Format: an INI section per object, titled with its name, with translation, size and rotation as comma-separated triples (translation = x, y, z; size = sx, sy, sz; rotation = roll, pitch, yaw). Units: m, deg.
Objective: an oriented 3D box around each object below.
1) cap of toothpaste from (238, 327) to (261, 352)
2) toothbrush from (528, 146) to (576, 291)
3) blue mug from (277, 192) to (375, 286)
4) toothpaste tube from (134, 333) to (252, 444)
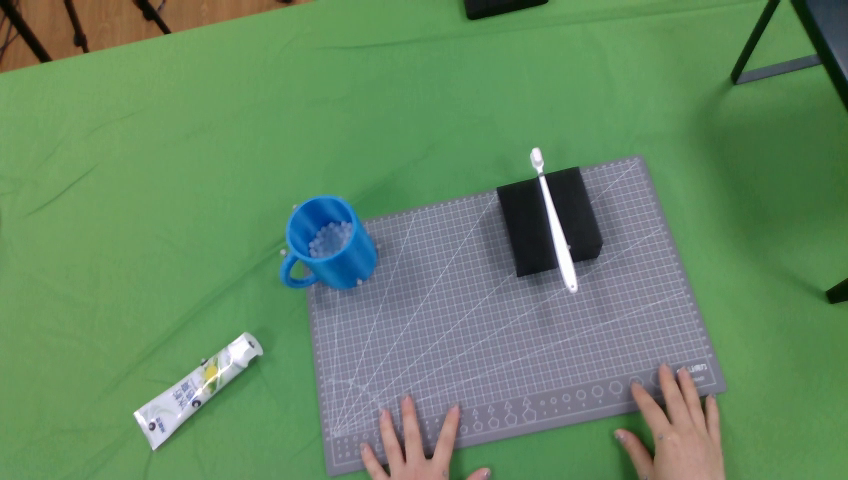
[cap of toothpaste]
translation = -0.211, 0.121, 0.730
size = 0.011, 0.037, 0.037
rotation = -39, 69, -3
[toothbrush]
translation = 0.146, -0.028, 0.691
size = 0.014, 0.017, 0.180
rotation = -10, 69, -2
[blue mug]
translation = -0.122, 0.012, 0.719
size = 0.116, 0.106, 0.081
rotation = -39, 69, -7
[toothpaste tube]
translation = -0.273, 0.169, 0.728
size = 0.165, 0.035, 0.054
rotation = -39, 65, -3
